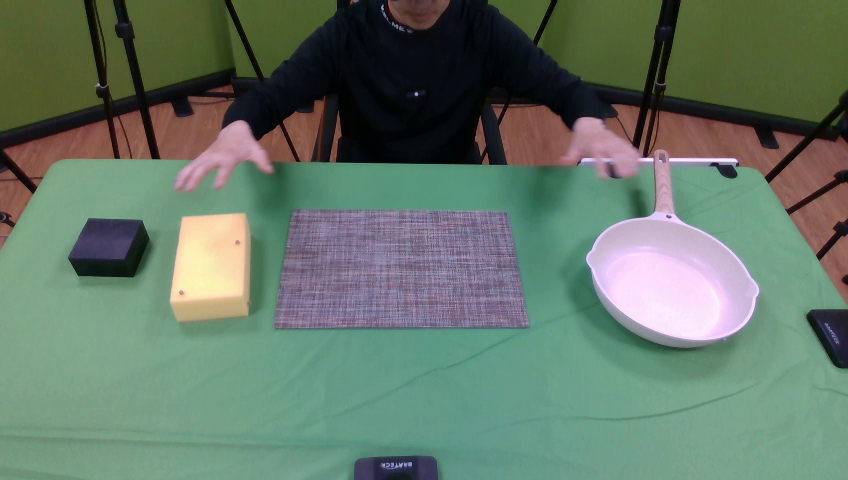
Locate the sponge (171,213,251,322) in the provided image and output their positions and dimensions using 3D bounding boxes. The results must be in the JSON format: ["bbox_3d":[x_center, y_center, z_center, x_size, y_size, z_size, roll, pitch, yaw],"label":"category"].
[{"bbox_3d":[-0.380,0.045,1.099,0.118,0.061,0.205,-6,47,-9],"label":"sponge"}]

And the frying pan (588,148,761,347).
[{"bbox_3d":[0.471,-0.003,1.174,0.307,0.103,0.485,11,55,6],"label":"frying pan"}]
